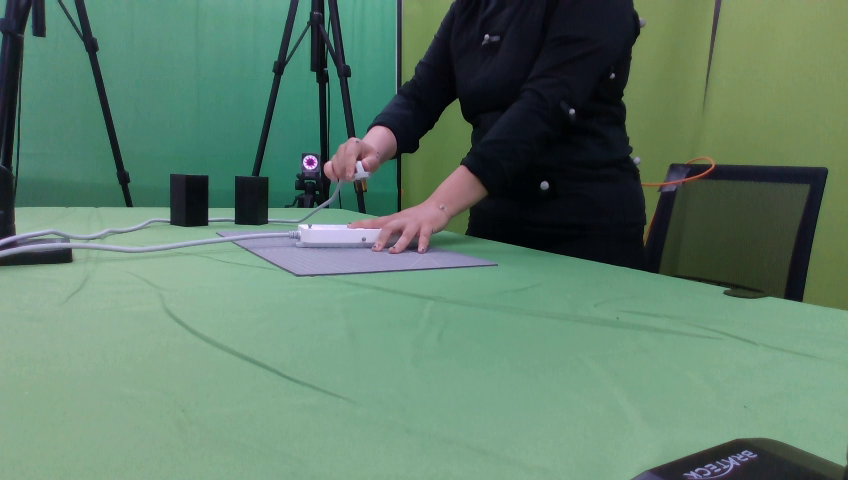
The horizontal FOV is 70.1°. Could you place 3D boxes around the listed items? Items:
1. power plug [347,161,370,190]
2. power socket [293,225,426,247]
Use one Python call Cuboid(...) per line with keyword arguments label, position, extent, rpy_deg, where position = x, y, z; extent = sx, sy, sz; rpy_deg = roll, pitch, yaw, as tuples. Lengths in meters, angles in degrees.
Cuboid(label="power plug", position=(-0.110, -0.108, 1.025), extent=(0.035, 0.052, 0.072), rpy_deg=(-10, 1, -6))
Cuboid(label="power socket", position=(-0.103, -0.008, 1.003), extent=(0.228, 0.032, 0.072), rpy_deg=(0, 7, -22))
